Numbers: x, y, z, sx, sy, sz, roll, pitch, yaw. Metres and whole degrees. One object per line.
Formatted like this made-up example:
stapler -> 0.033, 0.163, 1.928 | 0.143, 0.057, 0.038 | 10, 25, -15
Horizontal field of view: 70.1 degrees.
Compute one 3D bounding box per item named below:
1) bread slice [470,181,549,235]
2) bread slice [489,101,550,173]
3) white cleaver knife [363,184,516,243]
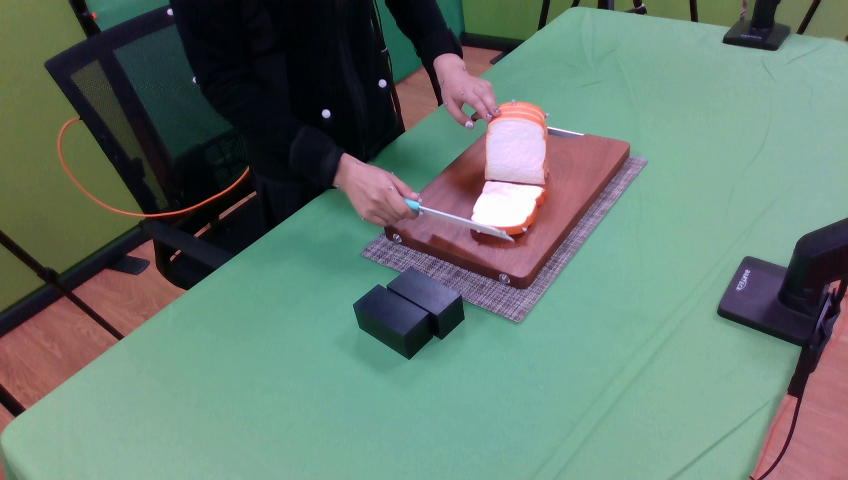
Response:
bread slice -> 0.131, -0.054, 0.975 | 0.106, 0.018, 0.134 | 9, 40, 25
bread slice -> 0.163, -0.174, 1.030 | 0.104, 0.132, 0.019 | 3, 39, 14
white cleaver knife -> 0.014, -0.038, 0.927 | 0.284, 0.066, 0.021 | 21, 81, 37
